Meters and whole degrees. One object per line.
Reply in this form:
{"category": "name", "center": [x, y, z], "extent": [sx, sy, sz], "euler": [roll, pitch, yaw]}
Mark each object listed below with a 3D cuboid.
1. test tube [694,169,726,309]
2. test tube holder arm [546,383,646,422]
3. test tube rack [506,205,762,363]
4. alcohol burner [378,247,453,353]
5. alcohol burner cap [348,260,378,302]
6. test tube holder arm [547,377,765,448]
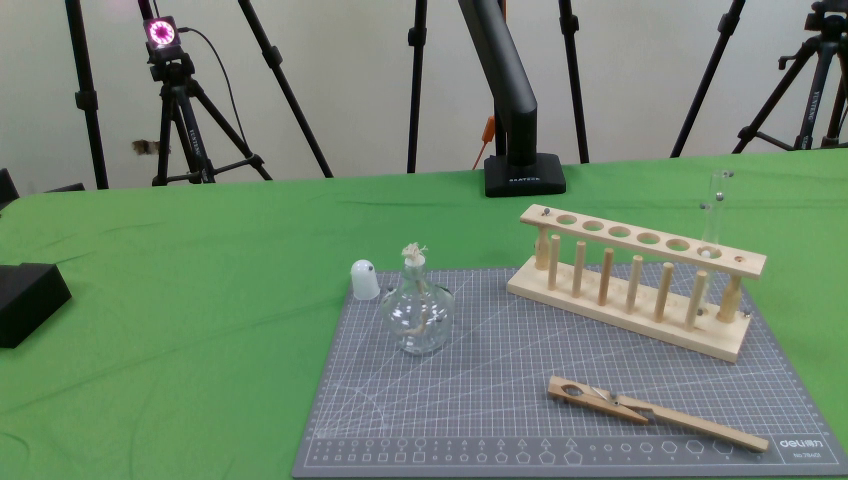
{"category": "test tube", "center": [0.273, 0.004, 0.585], "extent": [0.017, 0.151, 0.017], "euler": [-4, 29, 3]}
{"category": "test tube holder arm", "center": [0.152, 0.145, 0.538], "extent": [0.087, 0.015, 0.010], "euler": [11, 69, 23]}
{"category": "test tube rack", "center": [0.207, 0.038, 0.635], "extent": [0.240, 0.086, 0.066], "euler": [16, 39, 31]}
{"category": "alcohol burner", "center": [-0.009, 0.056, 0.614], "extent": [0.078, 0.120, 0.077], "euler": [-3, 34, 2]}
{"category": "alcohol burner cap", "center": [-0.073, 0.045, 0.710], "extent": [0.034, 0.048, 0.033], "euler": [-3, 33, 2]}
{"category": "test tube holder arm", "center": [0.195, 0.147, 0.523], "extent": [0.177, 0.015, 0.013], "euler": [10, 69, 23]}
